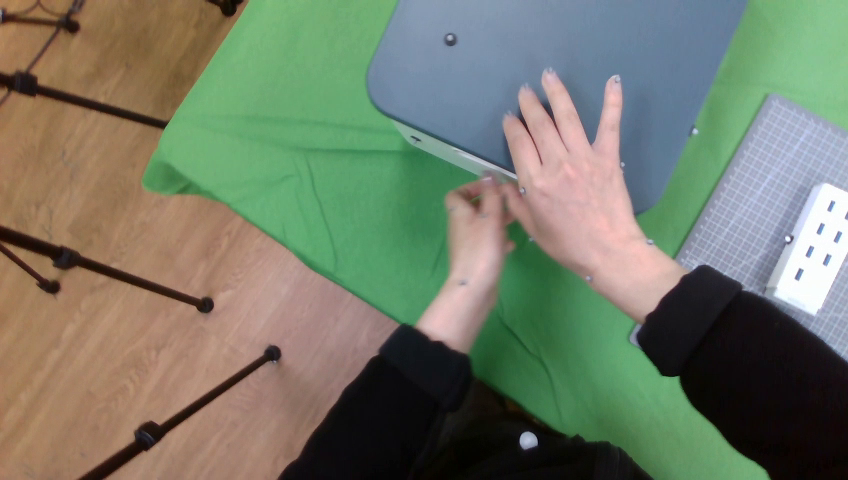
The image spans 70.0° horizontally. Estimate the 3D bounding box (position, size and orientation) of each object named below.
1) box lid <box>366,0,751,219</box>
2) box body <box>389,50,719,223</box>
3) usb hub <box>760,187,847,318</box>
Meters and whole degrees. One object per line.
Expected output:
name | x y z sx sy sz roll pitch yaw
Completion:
box lid | 0.136 -0.225 0.502 0.263 0.015 0.371 25 88 5
box body | 0.142 -0.221 0.575 0.254 0.160 0.363 25 88 5
usb hub | 0.392 0.012 0.611 0.049 0.025 0.125 27 89 5
